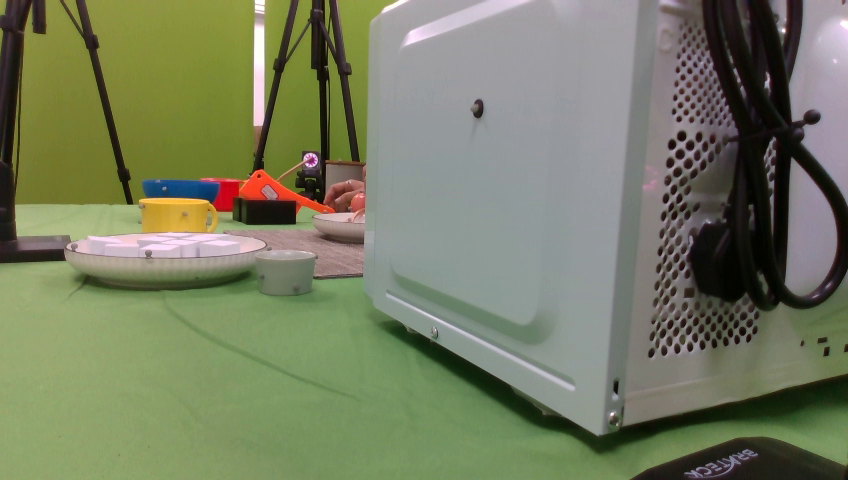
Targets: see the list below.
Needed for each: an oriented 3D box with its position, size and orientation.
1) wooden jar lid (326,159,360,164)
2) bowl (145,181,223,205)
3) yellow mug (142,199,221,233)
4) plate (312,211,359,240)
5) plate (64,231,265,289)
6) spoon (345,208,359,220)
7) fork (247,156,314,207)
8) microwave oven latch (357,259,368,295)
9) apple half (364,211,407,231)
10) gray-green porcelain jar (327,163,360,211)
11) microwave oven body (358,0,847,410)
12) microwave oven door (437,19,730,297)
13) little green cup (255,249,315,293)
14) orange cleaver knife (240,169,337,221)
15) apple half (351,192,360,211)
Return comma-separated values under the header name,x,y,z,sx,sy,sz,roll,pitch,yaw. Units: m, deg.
name,x,y,z,sx,sy,sz,roll,pitch,yaw
wooden jar lid,-0.185,-0.187,1.481,0.108,0.020,0.108,4,6,0
bowl,-0.499,-0.081,1.261,0.151,0.077,0.151,2,8,0
yellow mug,-0.373,-0.030,0.948,0.099,0.064,0.131,5,7,30
plate,-0.091,-0.026,1.063,0.209,0.038,0.209,2,7,0
plate,-0.288,0.021,0.687,0.208,0.039,0.207,2,8,0
spoon,-0.123,-0.047,1.116,0.041,0.021,0.194,-8,16,18
fork,-0.360,-0.147,1.522,0.207,0.018,0.028,-43,9,-7
microwave oven latch,-0.019,0.031,0.529,0.079,0.029,0.030,-1,7,-27
apple half,-0.068,-0.037,1.103,0.081,0.033,0.081,-1,9,0
gray-green porcelain jar,-0.186,-0.125,1.490,0.106,0.126,0.106,2,8,0
microwave oven body,0.210,-0.051,0.471,0.444,0.260,0.324,-1,7,-28
microwave oven door,0.181,-0.076,0.618,0.358,0.243,0.039,-2,9,-28
little green cup,-0.144,0.032,0.627,0.061,0.038,0.061,2,5,0
orange cleaver knife,-0.286,-0.082,1.299,0.212,0.077,0.012,25,-2,-31
apple half,-0.105,-0.065,1.260,0.081,0.074,0.053,1,10,-33
